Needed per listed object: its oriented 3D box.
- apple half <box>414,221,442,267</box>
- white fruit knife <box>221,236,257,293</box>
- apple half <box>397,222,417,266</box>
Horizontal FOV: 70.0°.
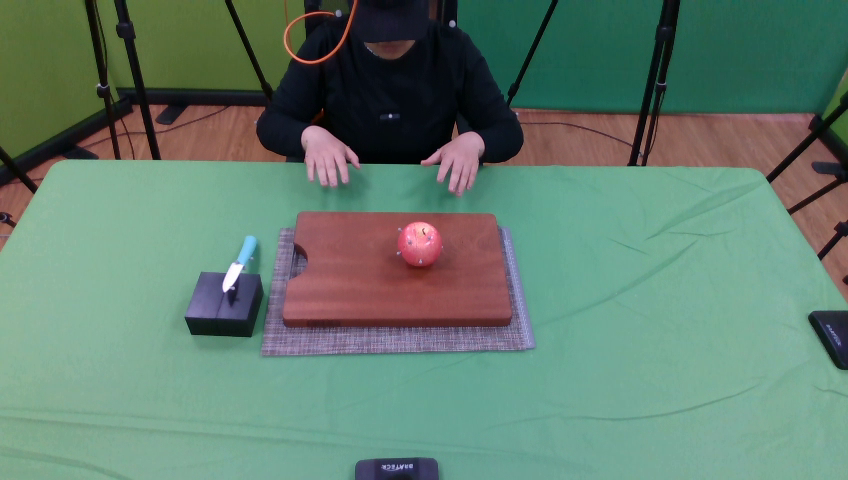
[{"bbox_3d":[0.006,0.009,1.115,0.053,0.075,0.080,0,42,-10],"label":"apple half"},{"bbox_3d":[-0.333,0.043,1.094,0.027,0.016,0.206,2,27,-2],"label":"white fruit knife"},{"bbox_3d":[-0.033,0.010,1.109,0.033,0.081,0.081,0,46,-10],"label":"apple half"}]
